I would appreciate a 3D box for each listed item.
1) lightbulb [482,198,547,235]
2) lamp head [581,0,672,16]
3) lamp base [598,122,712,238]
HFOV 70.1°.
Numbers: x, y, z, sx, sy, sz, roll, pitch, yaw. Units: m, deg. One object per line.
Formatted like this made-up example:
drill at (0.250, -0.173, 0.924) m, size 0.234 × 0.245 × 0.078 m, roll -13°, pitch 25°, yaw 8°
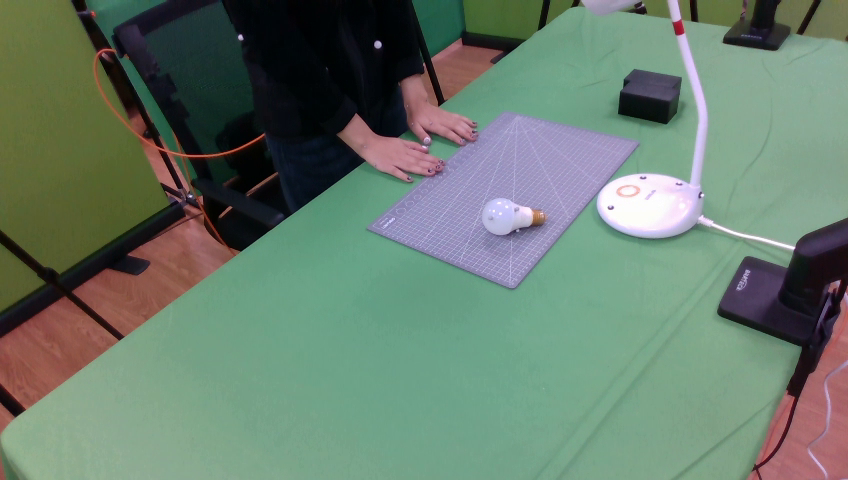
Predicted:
lightbulb at (0.147, -0.037, 0.974) m, size 0.108 × 0.059 × 0.059 m, roll 1°, pitch 39°, yaw -12°
lamp head at (0.261, -0.338, 0.738) m, size 0.122 × 0.113 × 0.112 m, roll 9°, pitch 42°, yaw 42°
lamp base at (0.365, -0.113, 0.925) m, size 0.178 × 0.181 × 0.161 m, roll 20°, pitch 48°, yaw 26°
